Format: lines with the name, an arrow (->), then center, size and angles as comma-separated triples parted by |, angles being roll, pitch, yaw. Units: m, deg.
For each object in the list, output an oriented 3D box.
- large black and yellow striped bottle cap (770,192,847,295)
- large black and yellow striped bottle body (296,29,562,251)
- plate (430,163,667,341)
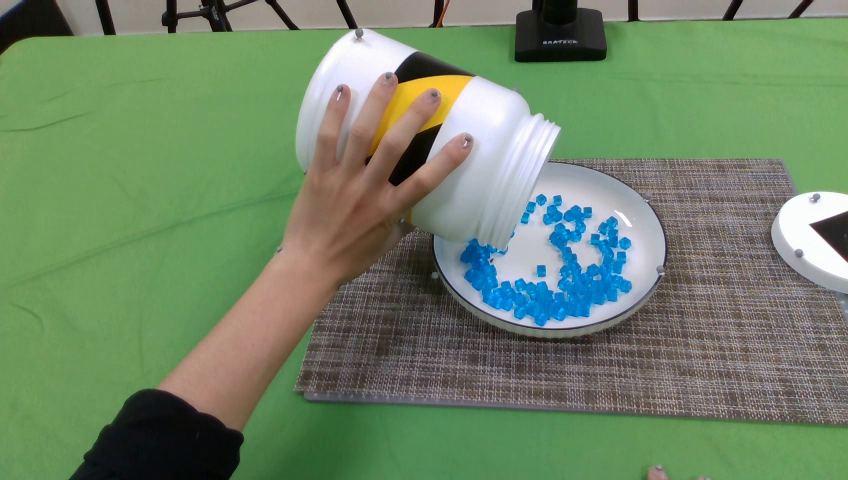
large black and yellow striped bottle cap -> 0.376, 0.000, 0.547 | 0.115, 0.019, 0.114 | -1, 48, 1
large black and yellow striped bottle body -> 0.006, -0.077, 0.495 | 0.183, 0.131, 0.130 | 25, 53, 8
plate -> 0.110, 0.009, 0.554 | 0.207, 0.039, 0.205 | -3, 47, 4
